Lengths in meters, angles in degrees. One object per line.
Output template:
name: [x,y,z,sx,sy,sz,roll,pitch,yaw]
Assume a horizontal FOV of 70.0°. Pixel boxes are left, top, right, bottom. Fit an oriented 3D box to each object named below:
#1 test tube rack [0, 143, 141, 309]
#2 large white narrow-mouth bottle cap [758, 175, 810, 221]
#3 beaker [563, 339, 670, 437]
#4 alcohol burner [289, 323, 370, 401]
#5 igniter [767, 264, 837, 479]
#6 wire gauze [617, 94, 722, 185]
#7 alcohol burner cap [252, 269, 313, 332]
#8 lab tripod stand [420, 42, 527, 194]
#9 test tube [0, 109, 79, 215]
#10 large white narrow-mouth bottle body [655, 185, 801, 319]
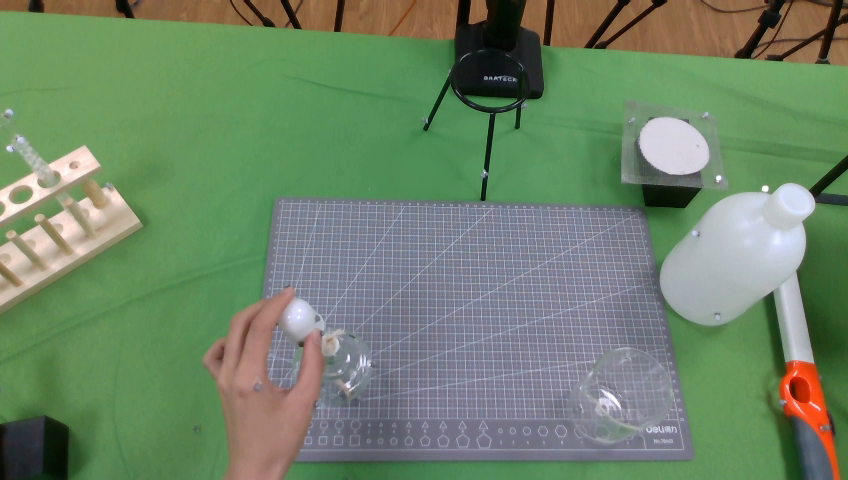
test tube rack: [-0.431,0.007,0.621,0.242,0.086,0.066,-37,71,-21]
large white narrow-mouth bottle cap: [0.323,-0.038,0.546,0.038,0.024,0.037,2,62,-3]
beaker: [0.178,0.148,0.587,0.084,0.101,0.073,-2,62,-4]
alcohol burner: [-0.090,0.110,0.577,0.078,0.120,0.077,3,61,-5]
igniter: [0.402,0.136,0.655,0.057,0.025,0.274,12,62,-10]
wire gauze: [0.294,-0.121,0.734,0.121,0.011,0.124,8,62,0]
alcohol burner cap: [-0.107,0.050,0.472,0.034,0.034,0.047,-36,74,-20]
lab tripod stand: [0.066,-0.150,0.715,0.148,0.132,0.147,3,64,-5]
test tube: [-0.387,-0.072,0.608,0.017,0.151,0.017,0,57,0]
large white narrow-mouth bottle body: [0.319,0.003,0.622,0.102,0.196,0.101,2,62,-3]
